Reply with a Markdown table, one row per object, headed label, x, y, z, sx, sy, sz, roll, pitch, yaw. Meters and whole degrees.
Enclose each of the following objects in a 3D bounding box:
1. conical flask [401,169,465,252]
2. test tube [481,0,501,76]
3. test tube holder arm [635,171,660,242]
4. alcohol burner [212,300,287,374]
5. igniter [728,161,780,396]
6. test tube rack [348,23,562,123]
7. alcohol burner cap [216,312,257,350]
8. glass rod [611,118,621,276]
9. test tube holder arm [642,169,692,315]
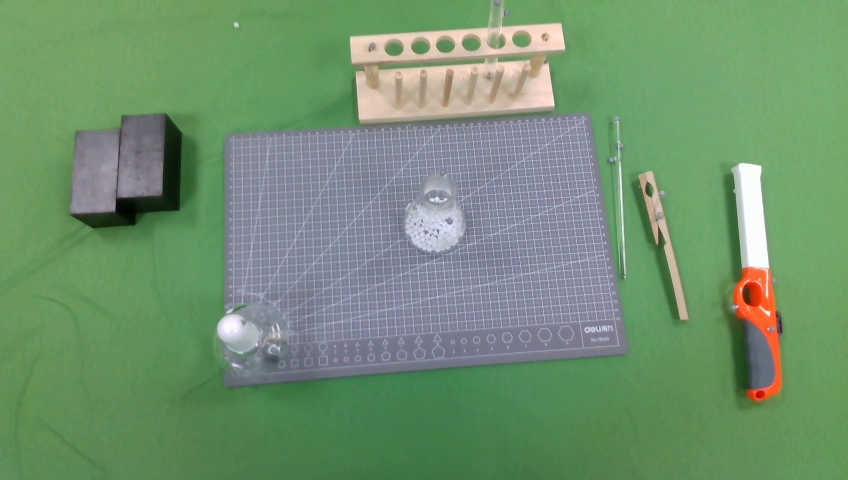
| label | x | y | z | sx | sy | sz | roll | pitch | yaw |
| --- | --- | --- | --- | --- | --- | --- | --- | --- | --- |
| conical flask | 0.011 | -0.036 | 0.658 | 0.075 | 0.122 | 0.075 | 0 | 75 | -1 |
| test tube | 0.075 | -0.231 | 0.683 | 0.017 | 0.151 | 0.017 | -1 | 73 | 3 |
| test tube holder arm | 0.270 | -0.040 | 0.725 | 0.010 | 0.015 | 0.087 | -20 | 74 | 31 |
| alcohol burner | -0.184 | 0.097 | 0.622 | 0.078 | 0.120 | 0.077 | 0 | 74 | 1 |
| igniter | 0.379 | 0.040 | 0.701 | 0.057 | 0.025 | 0.275 | 6 | 75 | -10 |
| test tube rack | 0.036 | -0.198 | 0.724 | 0.242 | 0.085 | 0.066 | -5 | 75 | -3 |
| alcohol burner cap | -0.184 | 0.085 | 0.587 | 0.034 | 0.048 | 0.033 | 0 | 66 | -1 |
| glass rod | 0.232 | -0.054 | 0.731 | 0.008 | 0.008 | 0.199 | 3 | 77 | -1 |
| test tube holder arm | 0.284 | 0.001 | 0.711 | 0.013 | 0.015 | 0.177 | -21 | 73 | 31 |
